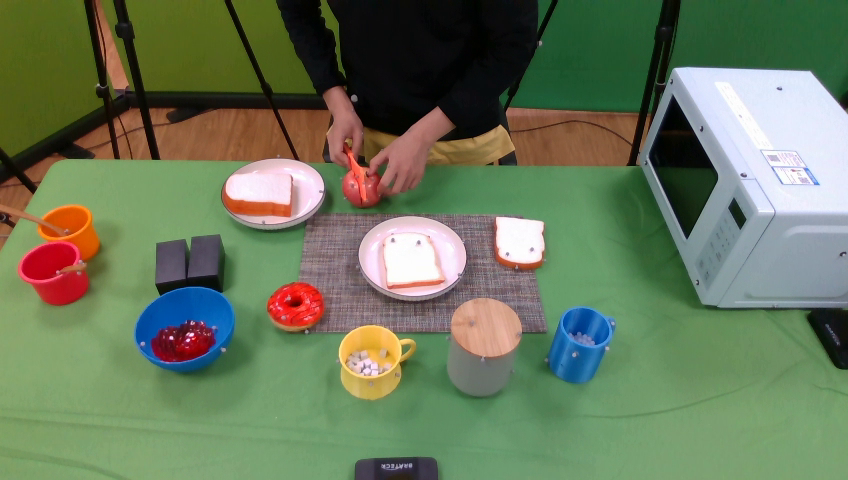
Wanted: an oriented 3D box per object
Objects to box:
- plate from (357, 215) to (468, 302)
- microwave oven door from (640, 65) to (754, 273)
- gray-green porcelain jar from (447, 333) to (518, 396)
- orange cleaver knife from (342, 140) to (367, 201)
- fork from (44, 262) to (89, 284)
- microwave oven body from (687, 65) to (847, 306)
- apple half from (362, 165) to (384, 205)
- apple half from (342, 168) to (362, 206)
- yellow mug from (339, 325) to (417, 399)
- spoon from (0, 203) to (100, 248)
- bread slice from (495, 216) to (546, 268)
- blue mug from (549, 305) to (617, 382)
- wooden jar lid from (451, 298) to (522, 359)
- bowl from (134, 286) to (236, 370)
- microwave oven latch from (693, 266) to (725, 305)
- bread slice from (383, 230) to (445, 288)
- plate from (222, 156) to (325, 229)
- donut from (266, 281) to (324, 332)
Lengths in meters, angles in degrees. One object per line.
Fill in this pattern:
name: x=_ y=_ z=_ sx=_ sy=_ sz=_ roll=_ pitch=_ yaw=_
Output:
plate: x=-0.022 y=0.037 z=1.141 sx=0.208 sy=0.039 sz=0.206 roll=2 pitch=46 yaw=-2
microwave oven door: x=0.523 y=-0.147 z=1.193 sx=0.039 sy=0.245 sz=0.353 roll=0 pitch=47 yaw=-3
gray-green porcelain jar: x=0.091 y=0.178 z=0.960 sx=0.106 sy=0.127 sz=0.105 roll=2 pitch=46 yaw=-2
orange cleaver knife: x=-0.145 y=-0.149 z=1.262 sx=0.012 sy=0.077 sz=0.210 roll=-10 pitch=31 yaw=-13
fork: x=-0.599 y=0.053 z=1.014 sx=0.207 sy=0.019 sz=0.028 roll=-14 pitch=29 yaw=45
microwave oven body: x=0.669 y=-0.111 z=1.176 sx=0.326 sy=0.261 sz=0.439 roll=0 pitch=46 yaw=-3
apple half: x=-0.111 y=-0.114 z=1.259 sx=0.053 sy=0.075 sz=0.080 roll=-7 pitch=44 yaw=-17
apple half: x=-0.151 y=-0.104 z=1.248 sx=0.033 sy=0.082 sz=0.080 roll=-14 pitch=49 yaw=-12
yellow mug: x=-0.072 y=0.190 z=0.978 sx=0.131 sy=0.064 sz=0.099 roll=-17 pitch=50 yaw=-20
spoon: x=-0.683 y=-0.031 z=1.088 sx=0.195 sy=0.021 sz=0.041 roll=33 pitch=33 yaw=-38
bread slice: x=0.194 y=0.002 z=1.204 sx=0.105 sy=0.019 sz=0.131 roll=6 pitch=46 yaw=2
blue mug: x=0.269 y=0.166 z=0.998 sx=0.116 sy=0.106 sz=0.082 roll=-19 pitch=51 yaw=-21
wooden jar lid: x=0.093 y=0.135 z=0.914 sx=0.108 sy=0.021 sz=0.107 roll=3 pitch=48 yaw=-3
bowl: x=-0.377 y=0.155 z=0.981 sx=0.151 sy=0.077 sz=0.150 roll=2 pitch=46 yaw=-2
microwave oven latch: x=0.523 y=0.082 z=1.115 sx=0.030 sy=0.029 sz=0.078 roll=3 pitch=46 yaw=0
bread slice: x=-0.028 y=0.035 z=1.144 sx=0.107 sy=0.018 sz=0.133 roll=-7 pitch=48 yaw=-12
plate: x=-0.308 y=-0.095 z=1.251 sx=0.209 sy=0.038 sz=0.208 roll=2 pitch=47 yaw=-2
donut: x=-0.222 y=0.115 z=1.049 sx=0.099 sy=0.048 sz=0.098 roll=2 pitch=45 yaw=-2
